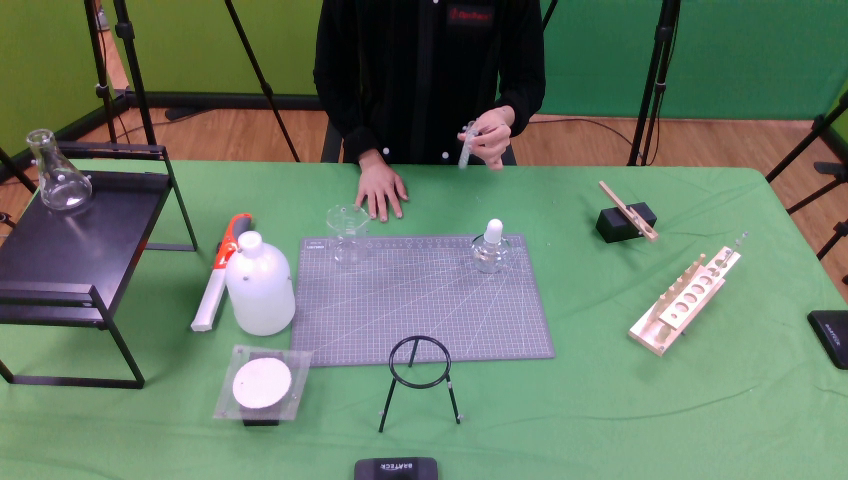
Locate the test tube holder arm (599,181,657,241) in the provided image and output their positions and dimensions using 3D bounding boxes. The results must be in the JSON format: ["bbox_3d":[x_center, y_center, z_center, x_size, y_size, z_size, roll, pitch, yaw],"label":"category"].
[{"bbox_3d":[0.407,-0.062,1.219,0.013,0.015,0.177,-23,51,-13],"label":"test tube holder arm"}]

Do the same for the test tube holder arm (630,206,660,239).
[{"bbox_3d":[0.431,-0.034,1.192,0.010,0.015,0.087,-23,51,-12],"label":"test tube holder arm"}]

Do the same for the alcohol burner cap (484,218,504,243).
[{"bbox_3d":[0.130,-0.021,1.106,0.034,0.048,0.033,3,51,-4],"label":"alcohol burner cap"}]

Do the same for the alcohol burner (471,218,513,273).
[{"bbox_3d":[0.128,0.005,1.132,0.078,0.120,0.077,0,47,0],"label":"alcohol burner"}]

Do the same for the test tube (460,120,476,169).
[{"bbox_3d":[0.075,-0.163,1.050,0.017,0.151,0.017,1,70,-1],"label":"test tube"}]

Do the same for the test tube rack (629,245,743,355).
[{"bbox_3d":[0.474,0.095,1.091,0.242,0.085,0.066,-34,56,-31],"label":"test tube rack"}]

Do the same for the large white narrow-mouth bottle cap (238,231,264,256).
[{"bbox_3d":[-0.266,0.006,0.932,0.038,0.024,0.037,2,46,-2],"label":"large white narrow-mouth bottle cap"}]

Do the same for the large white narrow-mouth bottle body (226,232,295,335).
[{"bbox_3d":[-0.270,0.065,0.995,0.102,0.195,0.101,2,46,-2],"label":"large white narrow-mouth bottle body"}]

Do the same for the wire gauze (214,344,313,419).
[{"bbox_3d":[-0.241,0.213,0.915,0.121,0.011,0.124,5,46,1],"label":"wire gauze"}]

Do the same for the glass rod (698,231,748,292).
[{"bbox_3d":[0.514,0.044,1.051,0.008,0.200,0.008,1,55,-1],"label":"glass rod"}]

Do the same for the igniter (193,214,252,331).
[{"bbox_3d":[-0.368,0.050,1.119,0.057,0.025,0.275,-3,46,8],"label":"igniter"}]

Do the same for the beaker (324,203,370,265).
[{"bbox_3d":[-0.142,-0.009,1.137,0.084,0.101,0.073,-3,47,-7],"label":"beaker"}]

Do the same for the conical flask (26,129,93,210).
[{"bbox_3d":[-0.575,-0.113,0.946,0.075,0.122,0.075,2,46,-2],"label":"conical flask"}]

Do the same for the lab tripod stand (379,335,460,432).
[{"bbox_3d":[-0.011,0.214,0.911,0.148,0.132,0.147,1,45,0],"label":"lab tripod stand"}]
